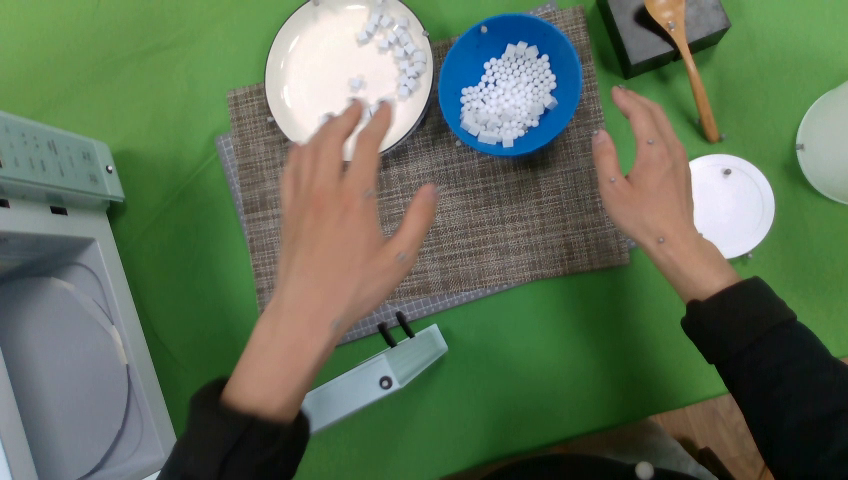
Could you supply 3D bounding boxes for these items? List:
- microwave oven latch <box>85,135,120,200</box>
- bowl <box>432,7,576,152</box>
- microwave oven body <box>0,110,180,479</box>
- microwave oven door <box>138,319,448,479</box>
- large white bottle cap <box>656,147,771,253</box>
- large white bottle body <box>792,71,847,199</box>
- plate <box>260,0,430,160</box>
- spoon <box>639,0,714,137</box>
[{"bbox_3d":[-0.414,-0.091,0.765,0.030,0.029,0.079,-20,86,9],"label":"microwave oven latch"},{"bbox_3d":[0.090,-0.165,0.667,0.151,0.077,0.151,0,89,11],"label":"bowl"},{"bbox_3d":[-0.508,0.123,0.679,0.326,0.261,0.440,-21,85,9],"label":"microwave oven body"},{"bbox_3d":[-0.155,0.187,0.608,0.356,0.244,0.039,-29,82,8],"label":"microwave oven door"},{"bbox_3d":[0.313,-0.043,0.657,0.114,0.018,0.114,0,89,10],"label":"large white bottle cap"},{"bbox_3d":[0.438,-0.111,0.551,0.130,0.185,0.130,0,88,11],"label":"large white bottle body"},{"bbox_3d":[-0.092,-0.196,0.722,0.209,0.038,0.209,-1,87,11],"label":"plate"},{"bbox_3d":[0.268,-0.193,0.632,0.041,0.021,0.195,-26,106,7],"label":"spoon"}]
